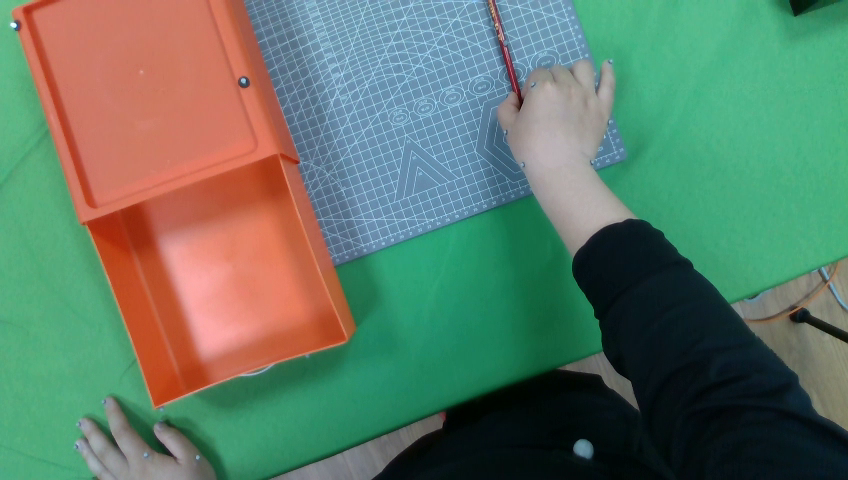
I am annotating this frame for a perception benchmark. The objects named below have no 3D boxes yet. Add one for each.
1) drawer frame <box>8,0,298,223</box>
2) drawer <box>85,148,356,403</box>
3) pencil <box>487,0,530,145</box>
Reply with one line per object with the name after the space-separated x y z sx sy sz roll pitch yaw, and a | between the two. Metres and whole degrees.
-0.254 -0.145 0.583 0.201 0.083 0.213 -20 89 4 | drawer frame
-0.194 0.025 0.587 0.194 0.073 0.212 -19 92 3 | drawer
0.079 -0.189 0.602 0.012 0.012 0.194 -15 92 3 | pencil
